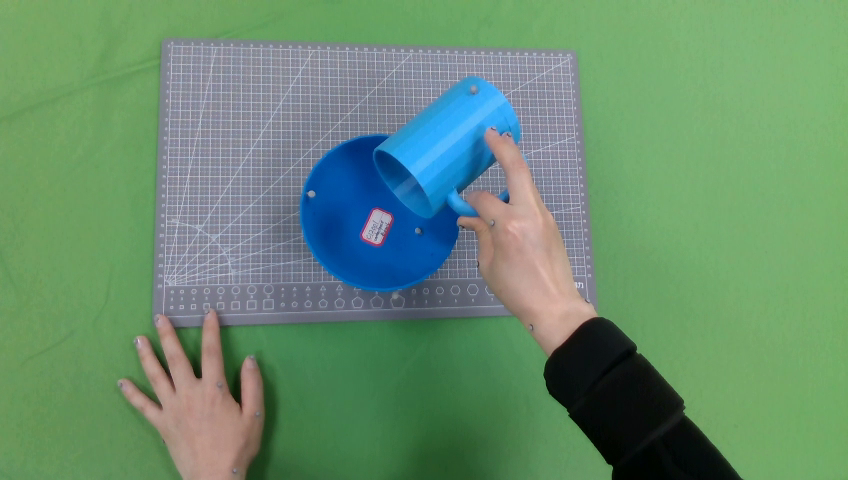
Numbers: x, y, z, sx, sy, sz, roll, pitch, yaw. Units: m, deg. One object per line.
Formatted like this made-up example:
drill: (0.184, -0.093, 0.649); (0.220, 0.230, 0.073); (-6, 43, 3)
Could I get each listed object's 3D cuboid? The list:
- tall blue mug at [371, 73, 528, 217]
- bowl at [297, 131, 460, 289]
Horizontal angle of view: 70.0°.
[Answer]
tall blue mug: (0.028, -0.077, 0.517); (0.108, 0.106, 0.078); (-41, 132, -16)
bowl: (-0.045, -0.023, 0.593); (0.152, 0.077, 0.151); (1, 80, -8)
